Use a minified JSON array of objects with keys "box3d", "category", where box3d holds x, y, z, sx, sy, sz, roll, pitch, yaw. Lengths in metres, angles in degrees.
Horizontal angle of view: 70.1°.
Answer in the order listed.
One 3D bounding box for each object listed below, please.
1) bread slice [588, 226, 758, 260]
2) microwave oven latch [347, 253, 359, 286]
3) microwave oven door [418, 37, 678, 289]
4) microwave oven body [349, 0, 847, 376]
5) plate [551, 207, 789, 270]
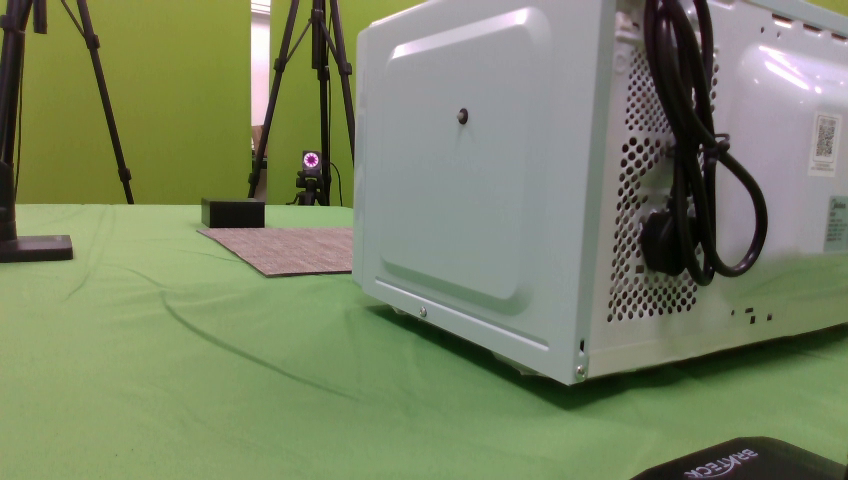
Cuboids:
[{"box3d":[0.226,0.001,0.569,0.132,0.019,0.104,4,5,-23],"category":"bread slice"},{"box3d":[-0.034,0.028,0.581,0.079,0.029,0.030,-1,7,-31],"category":"microwave oven latch"},{"box3d":[0.159,-0.079,0.684,0.358,0.243,0.039,-2,9,-32],"category":"microwave oven door"},{"box3d":[0.199,-0.053,0.540,0.444,0.260,0.324,-1,8,-32],"category":"microwave oven body"},{"box3d":[0.224,-0.004,0.572,0.209,0.038,0.209,3,8,0],"category":"plate"}]
